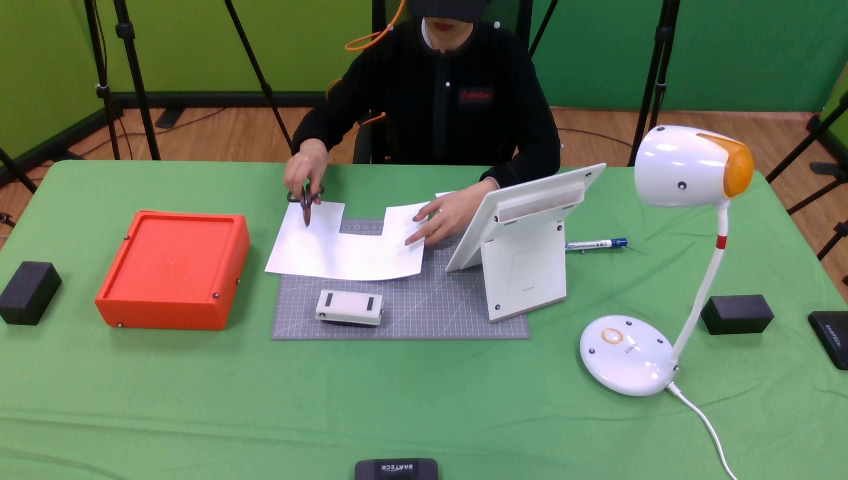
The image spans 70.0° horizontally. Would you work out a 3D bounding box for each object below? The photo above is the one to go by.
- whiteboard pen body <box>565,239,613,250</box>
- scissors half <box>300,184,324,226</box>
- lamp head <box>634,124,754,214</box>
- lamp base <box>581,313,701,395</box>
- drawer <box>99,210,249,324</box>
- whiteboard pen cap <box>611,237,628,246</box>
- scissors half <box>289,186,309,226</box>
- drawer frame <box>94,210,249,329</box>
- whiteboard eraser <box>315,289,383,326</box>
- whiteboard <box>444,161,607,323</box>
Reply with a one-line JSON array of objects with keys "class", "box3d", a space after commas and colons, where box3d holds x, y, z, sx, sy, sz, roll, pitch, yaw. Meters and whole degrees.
[{"class": "whiteboard pen body", "box3d": [0.331, 0.008, 1.211, 0.141, 0.017, 0.017, -5, 47, -4]}, {"class": "scissors half", "box3d": [-0.218, -0.068, 1.158, 0.040, 0.013, 0.174, -6, 30, 4]}, {"class": "lamp head", "box3d": [0.351, -0.089, 0.775, 0.112, 0.113, 0.122, -30, 30, -28]}, {"class": "lamp base", "box3d": [0.361, 0.144, 0.972, 0.178, 0.181, 0.160, 34, 53, 23]}, {"class": "drawer", "box3d": [-0.435, 0.044, 1.081, 0.194, 0.073, 0.210, 3, 47, -2]}, {"class": "whiteboard pen cap", "box3d": [0.390, 0.004, 1.215, 0.033, 0.018, 0.018, -7, 47, -2]}, {"class": "scissors half", "box3d": [-0.237, -0.064, 1.158, 0.040, 0.013, 0.174, -18, 30, -5]}, {"class": "drawer frame", "box3d": [-0.435, 0.048, 1.076, 0.202, 0.083, 0.212, 2, 47, -3]}, {"class": "whiteboard eraser", "box3d": [-0.130, 0.119, 1.054, 0.113, 0.042, 0.055, 6, 47, 1]}, {"class": "whiteboard", "box3d": [0.186, 0.025, 1.029, 0.217, 0.306, 0.143, -14, 68, -18]}]
